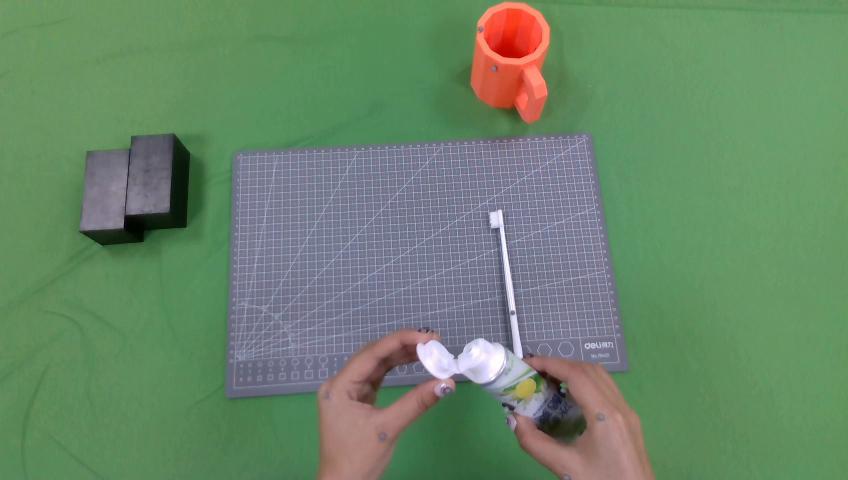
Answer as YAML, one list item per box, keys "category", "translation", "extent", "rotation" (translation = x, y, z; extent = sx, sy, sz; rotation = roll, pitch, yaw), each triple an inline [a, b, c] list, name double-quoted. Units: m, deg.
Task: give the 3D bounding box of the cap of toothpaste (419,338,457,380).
- category: "cap of toothpaste"
  translation: [0.011, 0.087, 0.454]
  extent: [0.011, 0.037, 0.037]
  rotation: [-42, 75, 23]

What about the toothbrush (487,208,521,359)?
- category: "toothbrush"
  translation: [0.093, 0.048, 0.704]
  extent: [0.016, 0.014, 0.180]
  rotation: [-7, 73, 2]

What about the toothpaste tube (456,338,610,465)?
- category: "toothpaste tube"
  translation: [0.087, 0.128, 0.487]
  extent: [0.166, 0.034, 0.055]
  rotation: [38, 93, -25]

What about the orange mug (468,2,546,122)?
- category: "orange mug"
  translation: [0.107, -0.212, 0.744]
  extent: [0.083, 0.101, 0.125]
  rotation: [-24, 70, -8]
